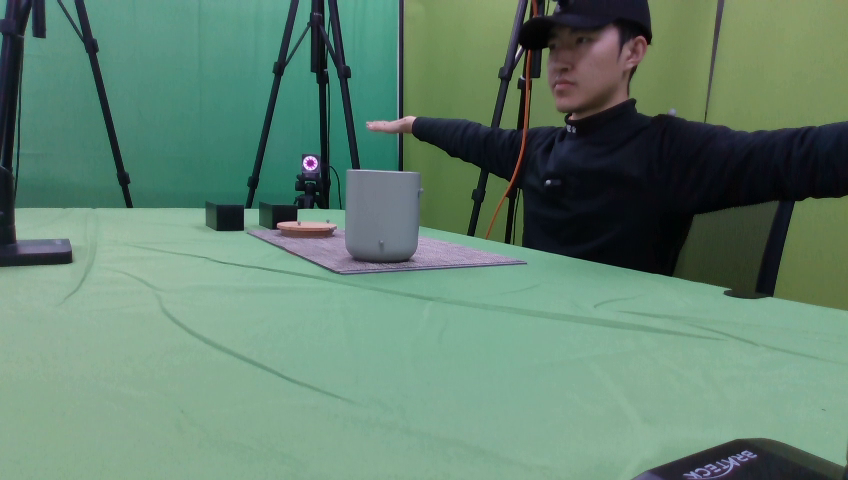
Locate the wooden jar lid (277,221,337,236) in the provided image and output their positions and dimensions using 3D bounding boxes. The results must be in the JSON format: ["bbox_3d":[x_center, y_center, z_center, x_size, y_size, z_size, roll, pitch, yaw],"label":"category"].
[{"bbox_3d":[-0.215,-0.021,1.112,0.108,0.020,0.108,3,7,0],"label":"wooden jar lid"}]

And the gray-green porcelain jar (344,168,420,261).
[{"bbox_3d":[-0.059,-0.037,0.858,0.106,0.126,0.106,2,7,0],"label":"gray-green porcelain jar"}]
